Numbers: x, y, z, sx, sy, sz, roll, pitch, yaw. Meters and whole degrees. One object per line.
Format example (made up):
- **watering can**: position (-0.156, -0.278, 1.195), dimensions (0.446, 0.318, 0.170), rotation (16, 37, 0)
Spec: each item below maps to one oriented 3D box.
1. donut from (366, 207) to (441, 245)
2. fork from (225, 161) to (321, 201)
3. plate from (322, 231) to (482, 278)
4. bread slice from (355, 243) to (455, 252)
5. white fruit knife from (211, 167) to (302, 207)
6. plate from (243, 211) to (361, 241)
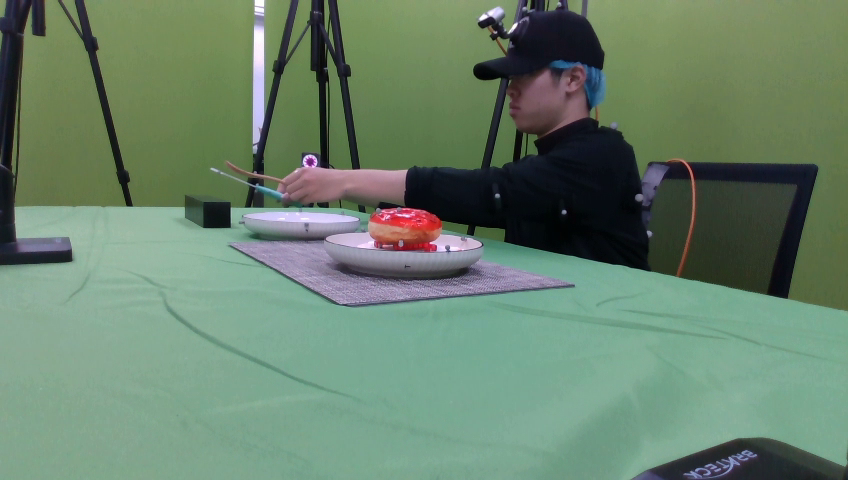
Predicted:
- **donut**: position (-0.027, -0.017, 0.786), dimensions (0.099, 0.048, 0.099), rotation (2, 7, 0)
- **fork**: position (-0.310, -0.121, 1.252), dimensions (0.208, 0.018, 0.028), rotation (18, -6, -20)
- **plate**: position (-0.028, 0.018, 0.789), dimensions (0.209, 0.038, 0.209), rotation (3, 7, 0)
- **bread slice**: position (-0.027, 0.020, 0.794), dimensions (0.131, 0.019, 0.105), rotation (6, 7, 17)
- **white fruit knife**: position (-0.353, -0.112, 1.290), dimensions (0.208, 0.016, 0.027), rotation (22, -5, -28)
- **plate**: position (-0.219, -0.025, 1.092), dimensions (0.208, 0.039, 0.207), rotation (3, 7, 0)
